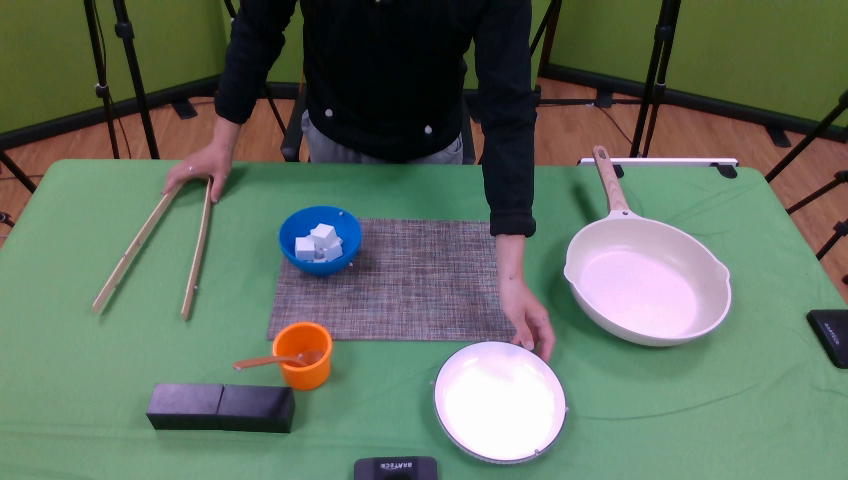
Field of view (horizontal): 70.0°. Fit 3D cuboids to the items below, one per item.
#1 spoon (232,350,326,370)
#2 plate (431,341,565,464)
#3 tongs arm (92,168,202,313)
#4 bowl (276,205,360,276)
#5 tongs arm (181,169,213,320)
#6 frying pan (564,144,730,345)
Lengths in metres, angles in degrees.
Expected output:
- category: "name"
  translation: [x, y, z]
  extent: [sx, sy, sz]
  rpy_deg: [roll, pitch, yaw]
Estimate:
- category: "spoon"
  translation: [-0.216, 0.182, 0.920]
  extent: [0.041, 0.194, 0.021]
  rpy_deg: [43, 101, 27]
- category: "plate"
  translation: [0.114, 0.255, 0.951]
  extent: [0.208, 0.039, 0.206]
  rpy_deg: [3, 46, -2]
- category: "tongs arm"
  translation: [-0.518, -0.012, 1.160]
  extent: [0.051, 0.026, 0.382]
  rpy_deg: [7, 45, 1]
- category: "bowl"
  translation: [-0.193, 0.013, 1.125]
  extent: [0.151, 0.077, 0.150]
  rpy_deg: [2, 47, -2]
- category: "tongs arm"
  translation: [-0.437, -0.006, 1.165]
  extent: [0.028, 0.028, 0.385]
  rpy_deg: [-5, 46, -5]
- category: "frying pan"
  translation: [0.396, -0.008, 1.179]
  extent: [0.307, 0.103, 0.484]
  rpy_deg: [0, 55, -5]
